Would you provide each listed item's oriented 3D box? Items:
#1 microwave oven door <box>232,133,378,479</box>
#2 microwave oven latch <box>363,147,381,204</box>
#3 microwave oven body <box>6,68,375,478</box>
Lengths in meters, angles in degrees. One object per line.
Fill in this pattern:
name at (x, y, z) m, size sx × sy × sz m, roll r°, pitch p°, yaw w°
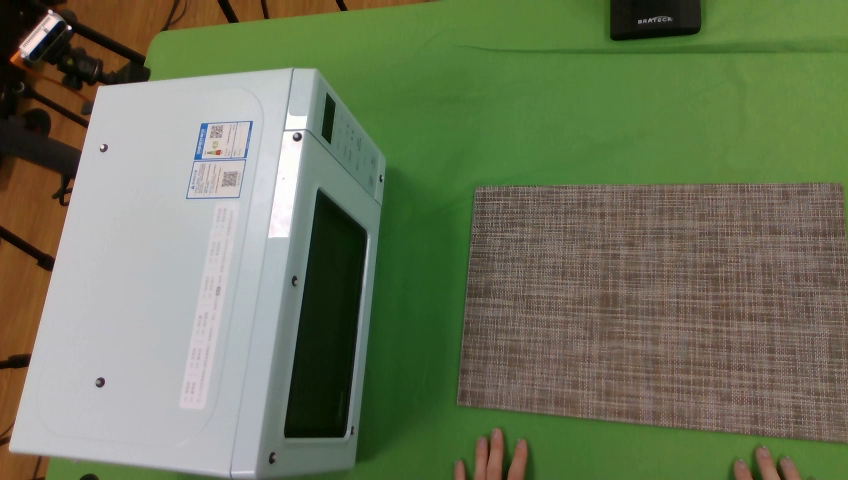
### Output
microwave oven door at (-0.125, 0.087, 0.712) m, size 0.039 × 0.246 × 0.354 m, roll -1°, pitch 73°, yaw 16°
microwave oven latch at (-0.079, -0.092, 0.865) m, size 0.030 × 0.030 × 0.078 m, roll 0°, pitch 74°, yaw 16°
microwave oven body at (-0.261, 0.050, 0.768) m, size 0.325 × 0.262 × 0.439 m, roll 0°, pitch 74°, yaw 15°
